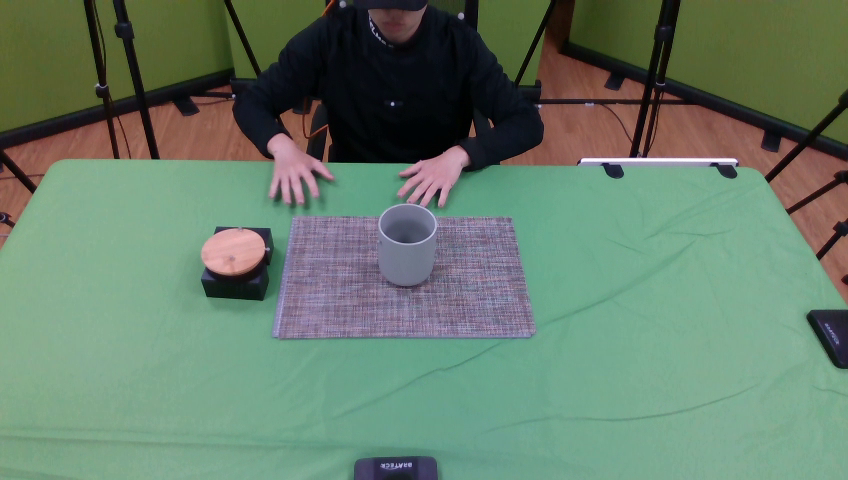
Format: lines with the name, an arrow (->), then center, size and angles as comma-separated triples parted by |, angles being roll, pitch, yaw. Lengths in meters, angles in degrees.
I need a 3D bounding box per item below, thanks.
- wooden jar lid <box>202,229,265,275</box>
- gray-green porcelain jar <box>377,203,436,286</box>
wooden jar lid -> -0.340, 0.023, 1.084 | 0.108, 0.021, 0.107 | 3, 45, -2
gray-green porcelain jar -> -0.033, 0.014, 1.106 | 0.106, 0.127, 0.105 | 2, 46, -2
